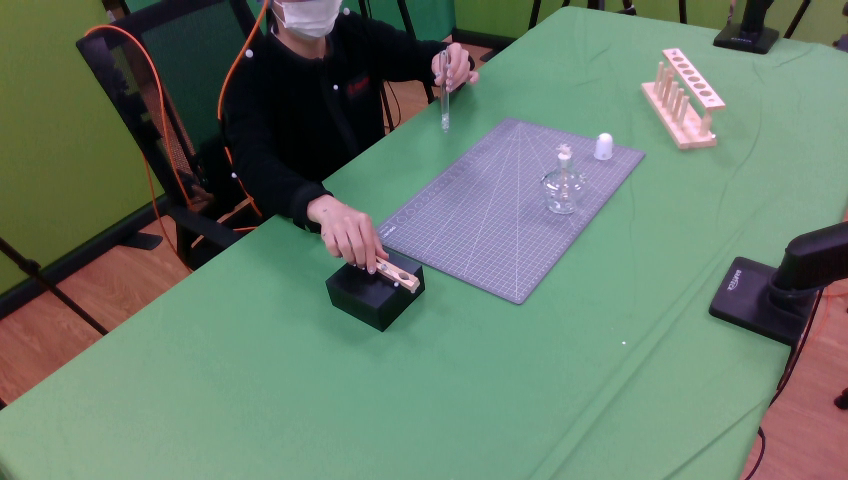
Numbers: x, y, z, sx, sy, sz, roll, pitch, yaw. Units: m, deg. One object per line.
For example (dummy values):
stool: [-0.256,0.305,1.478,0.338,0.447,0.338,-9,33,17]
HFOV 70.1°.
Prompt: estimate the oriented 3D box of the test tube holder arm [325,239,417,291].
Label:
test tube holder arm: [-0.080,0.034,0.874,0.177,0.015,0.013,22,48,31]

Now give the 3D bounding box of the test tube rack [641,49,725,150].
test tube rack: [0.495,-0.279,1.175,0.067,0.085,0.241,-5,41,3]

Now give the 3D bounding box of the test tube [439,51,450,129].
test tube: [0.037,-0.261,1.071,0.017,0.151,0.017,-2,43,2]

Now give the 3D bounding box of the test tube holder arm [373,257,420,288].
test tube holder arm: [-0.042,0.046,0.854,0.087,0.015,0.010,24,50,33]

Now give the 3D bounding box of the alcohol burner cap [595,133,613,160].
alcohol burner cap: [0.330,-0.172,1.104,0.034,0.048,0.033,-5,41,5]

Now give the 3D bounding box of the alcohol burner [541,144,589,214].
alcohol burner: [0.229,-0.102,0.983,0.078,0.119,0.077,-6,41,5]
